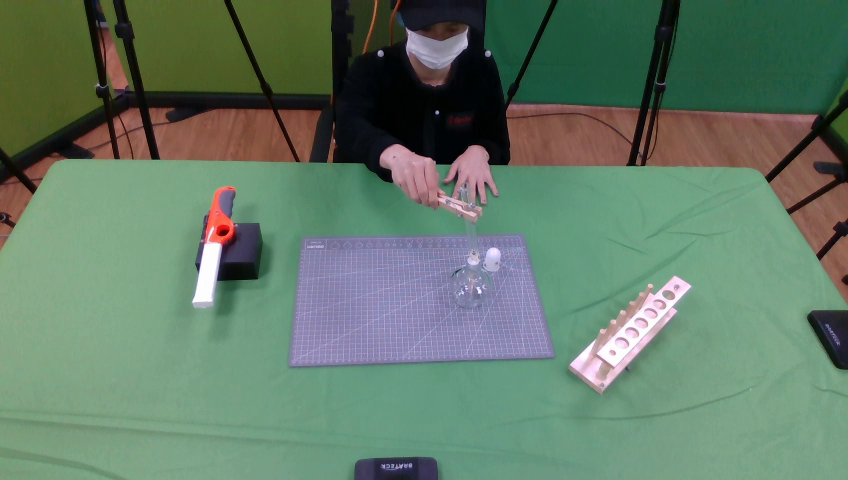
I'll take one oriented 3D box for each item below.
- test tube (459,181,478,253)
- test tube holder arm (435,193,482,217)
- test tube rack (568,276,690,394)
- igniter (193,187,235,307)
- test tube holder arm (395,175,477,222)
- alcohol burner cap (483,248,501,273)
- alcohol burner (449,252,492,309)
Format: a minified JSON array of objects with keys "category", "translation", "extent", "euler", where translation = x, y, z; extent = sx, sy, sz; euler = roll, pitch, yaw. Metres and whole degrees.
[{"category":"test tube","translation":[0.073,-0.033,0.973],"extent":[0.017,0.151,0.017],"euler":[-6,45,6]},{"category":"test tube holder arm","translation":[0.054,-0.058,0.973],"extent":[0.087,0.015,0.010],"euler":[20,54,28]},{"category":"test tube rack","translation":[0.353,0.149,1.039],"extent":[0.242,0.085,0.066],"euler":[-34,56,-31]},{"category":"igniter","translation":[-0.379,0.003,1.096],"extent":[0.057,0.025,0.274],"euler":[-1,49,-6]},{"category":"test tube holder arm","translation":[0.016,-0.070,0.994],"extent":[0.177,0.015,0.013],"euler":[28,58,33]},{"category":"alcohol burner cap","translation":[0.130,0.037,1.156],"extent":[0.034,0.048,0.033],"euler":[1,46,-1]},{"category":"alcohol burner","translation":[0.084,0.066,1.074],"extent":[0.078,0.120,0.077],"euler":[1,44,-1]}]
